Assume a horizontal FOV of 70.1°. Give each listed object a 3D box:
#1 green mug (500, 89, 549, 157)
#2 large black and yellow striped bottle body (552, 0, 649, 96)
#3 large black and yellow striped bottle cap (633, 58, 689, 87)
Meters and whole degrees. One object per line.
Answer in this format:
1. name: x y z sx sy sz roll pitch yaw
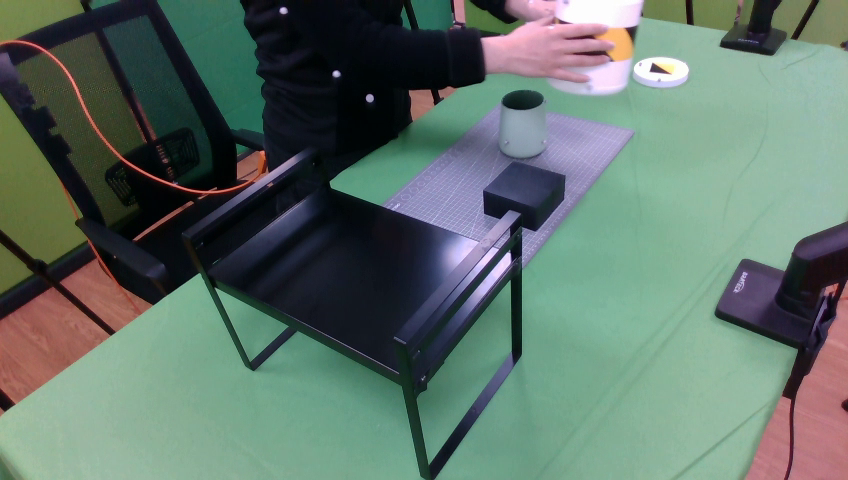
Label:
1. green mug: 0.197 -0.229 1.146 0.092 0.105 0.125 15 46 26
2. large black and yellow striped bottle body: 0.280 -0.336 0.964 0.131 0.184 0.130 2 32 -1
3. large black and yellow striped bottle cap: 0.522 -0.370 1.332 0.115 0.019 0.114 -3 41 3
